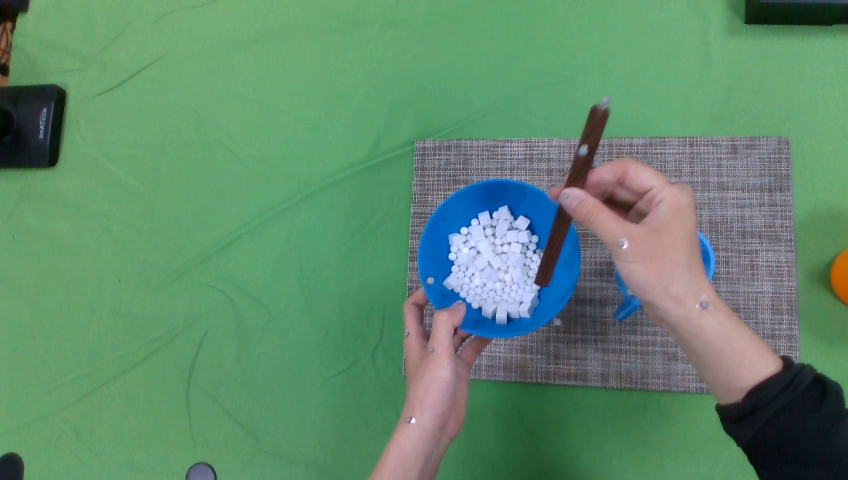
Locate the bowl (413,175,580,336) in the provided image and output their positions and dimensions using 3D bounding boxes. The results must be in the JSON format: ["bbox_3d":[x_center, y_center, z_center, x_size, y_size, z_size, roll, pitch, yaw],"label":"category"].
[{"bbox_3d":[0.072,0.021,0.586,0.151,0.077,0.150,-2,78,11],"label":"bowl"}]

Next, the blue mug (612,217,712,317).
[{"bbox_3d":[0.246,0.038,0.664,0.082,0.106,0.116,40,89,13],"label":"blue mug"}]

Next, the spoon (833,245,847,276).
[{"bbox_3d":[0.519,0.034,0.606,0.022,0.192,0.041,27,83,-32],"label":"spoon"}]

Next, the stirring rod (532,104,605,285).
[{"bbox_3d":[0.108,-0.027,0.465,0.014,0.177,0.006,12,43,5],"label":"stirring rod"}]
